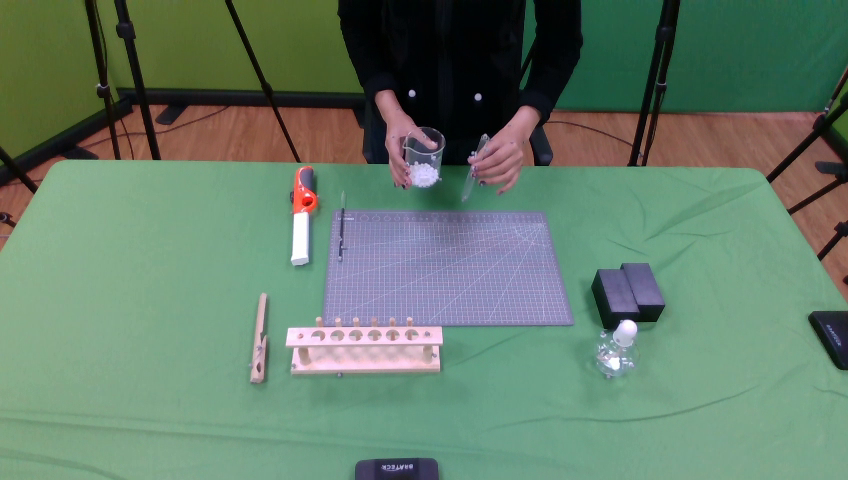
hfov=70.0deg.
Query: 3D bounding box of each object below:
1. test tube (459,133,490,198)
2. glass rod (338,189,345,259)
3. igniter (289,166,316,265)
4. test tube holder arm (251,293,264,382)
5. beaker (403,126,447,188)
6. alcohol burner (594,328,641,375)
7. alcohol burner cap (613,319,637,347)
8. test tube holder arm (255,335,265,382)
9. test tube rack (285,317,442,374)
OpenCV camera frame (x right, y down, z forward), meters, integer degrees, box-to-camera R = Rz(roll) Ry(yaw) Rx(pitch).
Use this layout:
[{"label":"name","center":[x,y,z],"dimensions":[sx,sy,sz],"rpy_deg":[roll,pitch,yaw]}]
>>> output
[{"label":"test tube","center":[0.091,-0.134,1.118],"dimensions":[0.017,0.151,0.017],"rpy_deg":[9,46,-9]},{"label":"glass rod","center":[-0.166,-0.037,1.226],"dimensions":[0.008,0.008,0.198],"rpy_deg":[-1,47,-4]},{"label":"igniter","center":[-0.248,-0.058,1.233],"dimensions":[0.057,0.025,0.274],"rpy_deg":[-9,47,1]},{"label":"test tube holder arm","center":[-0.281,0.160,1.025],"dimensions":[0.013,0.015,0.177],"rpy_deg":[23,36,-32]},{"label":"beaker","center":[-0.003,-0.156,1.161],"dimensions":[0.084,0.101,0.073],"rpy_deg":[-13,55,-16]},{"label":"alcohol burner","center":[0.322,0.170,0.994],"dimensions":[0.078,0.119,0.077],"rpy_deg":[3,48,-3]},{"label":"alcohol burner cap","center":[0.323,0.146,0.966],"dimensions":[0.034,0.048,0.033],"rpy_deg":[-1,52,2]},{"label":"test tube holder arm","center":[-0.270,0.193,0.997],"dimensions":[0.010,0.015,0.087],"rpy_deg":[24,36,-32]},{"label":"test tube rack","center":[-0.095,0.166,0.988],"dimensions":[0.242,0.085,0.066],"rpy_deg":[0,46,-4]}]
